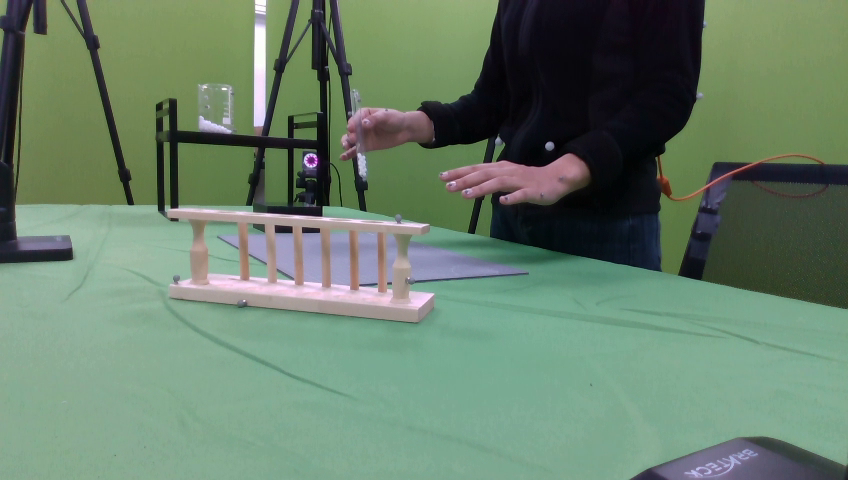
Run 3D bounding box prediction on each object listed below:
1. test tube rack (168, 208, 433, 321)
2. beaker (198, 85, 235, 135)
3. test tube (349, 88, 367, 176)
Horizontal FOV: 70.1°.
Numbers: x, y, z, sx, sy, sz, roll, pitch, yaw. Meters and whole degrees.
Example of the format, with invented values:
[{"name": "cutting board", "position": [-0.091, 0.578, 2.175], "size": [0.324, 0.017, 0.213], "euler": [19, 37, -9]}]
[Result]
[{"name": "test tube rack", "position": [-0.116, 0.017, 0.574], "size": [0.242, 0.085, 0.067], "euler": [4, 8, 13]}, {"name": "beaker", "position": [-0.439, -0.273, 1.275], "size": [0.074, 0.100, 0.084], "euler": [5, 8, 19]}, {"name": "test tube", "position": [-0.110, -0.178, 0.998], "size": [0.017, 0.150, 0.017], "euler": [-7, -9, -1]}]
